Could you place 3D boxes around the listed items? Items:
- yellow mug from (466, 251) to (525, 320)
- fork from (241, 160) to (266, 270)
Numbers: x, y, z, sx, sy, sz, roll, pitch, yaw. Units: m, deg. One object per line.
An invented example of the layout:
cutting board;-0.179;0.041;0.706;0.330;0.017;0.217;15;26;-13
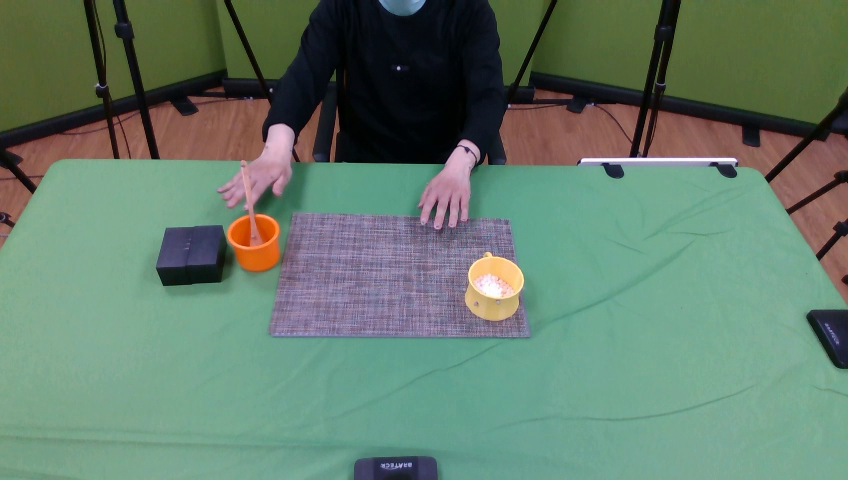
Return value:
yellow mug;0.125;0.074;1.096;0.100;0.064;0.130;-4;45;-7
fork;-0.321;-0.047;1.130;0.028;0.018;0.207;-9;91;-5
